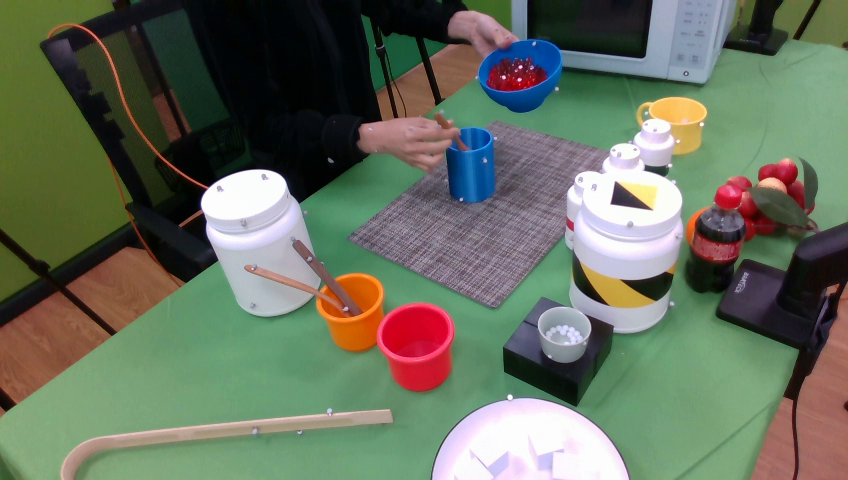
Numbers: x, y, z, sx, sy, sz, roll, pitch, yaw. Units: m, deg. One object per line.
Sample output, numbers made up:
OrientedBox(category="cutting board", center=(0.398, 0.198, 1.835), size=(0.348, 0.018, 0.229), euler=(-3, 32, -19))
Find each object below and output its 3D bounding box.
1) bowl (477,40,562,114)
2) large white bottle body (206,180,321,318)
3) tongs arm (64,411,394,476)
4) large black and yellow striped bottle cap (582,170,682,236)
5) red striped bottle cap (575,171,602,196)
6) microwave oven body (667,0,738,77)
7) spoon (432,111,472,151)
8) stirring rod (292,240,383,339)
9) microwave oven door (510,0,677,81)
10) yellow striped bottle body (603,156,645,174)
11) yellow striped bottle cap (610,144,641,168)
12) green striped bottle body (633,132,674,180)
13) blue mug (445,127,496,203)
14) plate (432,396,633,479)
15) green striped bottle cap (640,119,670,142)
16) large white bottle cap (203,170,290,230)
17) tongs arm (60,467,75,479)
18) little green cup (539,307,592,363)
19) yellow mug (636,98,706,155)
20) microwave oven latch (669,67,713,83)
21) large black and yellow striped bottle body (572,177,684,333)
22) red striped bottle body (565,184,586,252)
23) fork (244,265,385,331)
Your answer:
OrientedBox(category="bowl", center=(0.176, -0.282, 1.090), size=(0.151, 0.077, 0.150), euler=(-10, 49, 12))
OrientedBox(category="large white bottle body", center=(-0.233, 0.007, 0.876), size=(0.130, 0.185, 0.130), euler=(-5, 40, 4))
OrientedBox(category="tongs arm", center=(-0.228, 0.241, 0.715), size=(0.385, 0.026, 0.050), euler=(-5, 43, 4))
OrientedBox(category="large black and yellow striped bottle cap", center=(0.252, -0.048, 0.735), size=(0.115, 0.019, 0.114), euler=(-3, 40, 3))
OrientedBox(category="red striped bottle cap", center=(0.242, -0.081, 0.876), size=(0.044, 0.018, 0.044), euler=(-5, 44, 5))
OrientedBox(category="microwave oven body", center=(0.462, -0.552, 1.369), size=(0.439, 0.261, 0.326), euler=(15, 45, 26))
OrientedBox(category="spoon", center=(0.050, -0.160, 0.964), size=(0.041, 0.195, 0.021), euler=(-6, 69, 22))
OrientedBox(category="stirring rod", center=(-0.118, 0.068, 0.826), size=(0.176, 0.006, 0.014), euler=(49, 59, -4))
OrientedBox(category="microwave oven door", center=(0.354, -0.478, 1.291), size=(0.353, 0.245, 0.039), euler=(15, 45, 25))
OrientedBox(category="yellow striped bottle body", center=(0.313, -0.089, 0.955), size=(0.063, 0.121, 0.062), euler=(-4, 40, 4))
OrientedBox(category="yellow striped bottle cap", center=(0.307, -0.128, 0.923), size=(0.044, 0.019, 0.044), euler=(-5, 39, 5))
OrientedBox(category="green striped bottle body", center=(0.376, -0.135, 1.001), size=(0.063, 0.120, 0.063), euler=(-5, 40, 5))
OrientedBox(category="blue mug", center=(0.082, -0.140, 1.059), size=(0.082, 0.106, 0.116), euler=(-4, 40, 5))
OrientedBox(category="plate", center=(0.112, 0.261, 0.634), size=(0.209, 0.038, 0.208), euler=(-5, 40, 4))
OrientedBox(category="green striped bottle cap", center=(0.370, -0.174, 0.968), size=(0.044, 0.020, 0.044), euler=(-3, 41, 3))
OrientedBox(category="large white bottle cap", center=(-0.241, -0.057, 0.822), size=(0.115, 0.018, 0.114), euler=(-4, 40, 4))
OrientedBox(category="tongs arm", center=(-0.239, 0.301, 0.648), size=(0.386, 0.028, 0.028), euler=(6, 49, 16))
OrientedBox(category="little green cup", center=(0.168, 0.115, 0.721), size=(0.061, 0.039, 0.061), euler=(-4, 43, 4))
OrientedBox(category="yellow mug", center=(0.453, -0.217, 1.128), size=(0.100, 0.064, 0.129), euler=(-34, 45, -27))
OrientedBox(category="microwave oven latch", center=(0.556, -0.349, 1.261), size=(0.078, 0.029, 0.030), euler=(16, 46, 27))
OrientedBox(category="large black and yellow striped bottle body", center=(0.262, 0.017, 0.788), size=(0.131, 0.185, 0.130), euler=(-5, 40, 4))
OrientedBox(category="red striped bottle body", center=(0.247, -0.041, 0.910), size=(0.063, 0.120, 0.062), euler=(-3, 39, 3))
OrientedBox(category="fork", center=(-0.142, 0.078, 0.806), size=(0.209, 0.018, 0.028), euler=(30, 33, -24))
